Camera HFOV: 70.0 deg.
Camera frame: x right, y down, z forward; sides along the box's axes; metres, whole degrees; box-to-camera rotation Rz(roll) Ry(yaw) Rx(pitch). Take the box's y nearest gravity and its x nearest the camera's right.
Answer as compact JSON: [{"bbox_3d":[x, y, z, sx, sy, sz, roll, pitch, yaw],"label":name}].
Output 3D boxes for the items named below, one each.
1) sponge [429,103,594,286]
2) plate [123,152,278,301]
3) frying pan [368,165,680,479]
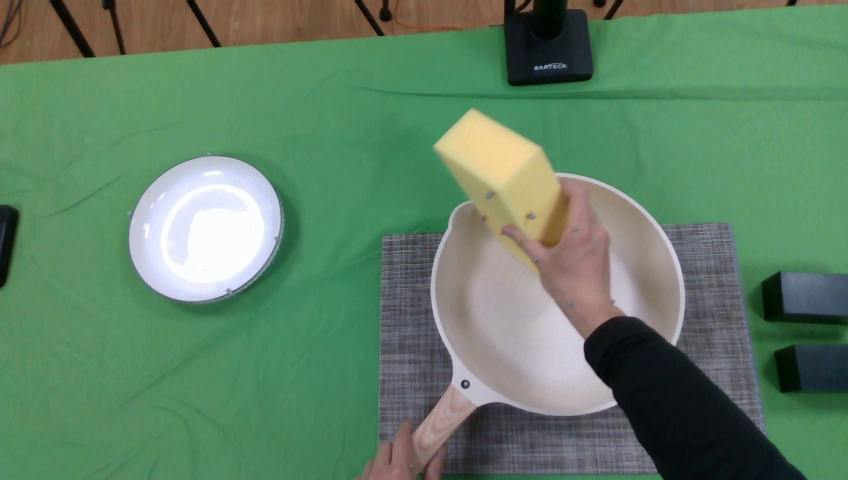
[{"bbox_3d":[0.104,-0.047,0.685,0.061,0.209,0.117,-45,45,-4],"label":"sponge"},{"bbox_3d":[-0.295,-0.017,0.816,0.207,0.039,0.206,-1,73,4],"label":"plate"},{"bbox_3d":[0.082,0.125,0.703,0.305,0.103,0.487,39,71,16],"label":"frying pan"}]
